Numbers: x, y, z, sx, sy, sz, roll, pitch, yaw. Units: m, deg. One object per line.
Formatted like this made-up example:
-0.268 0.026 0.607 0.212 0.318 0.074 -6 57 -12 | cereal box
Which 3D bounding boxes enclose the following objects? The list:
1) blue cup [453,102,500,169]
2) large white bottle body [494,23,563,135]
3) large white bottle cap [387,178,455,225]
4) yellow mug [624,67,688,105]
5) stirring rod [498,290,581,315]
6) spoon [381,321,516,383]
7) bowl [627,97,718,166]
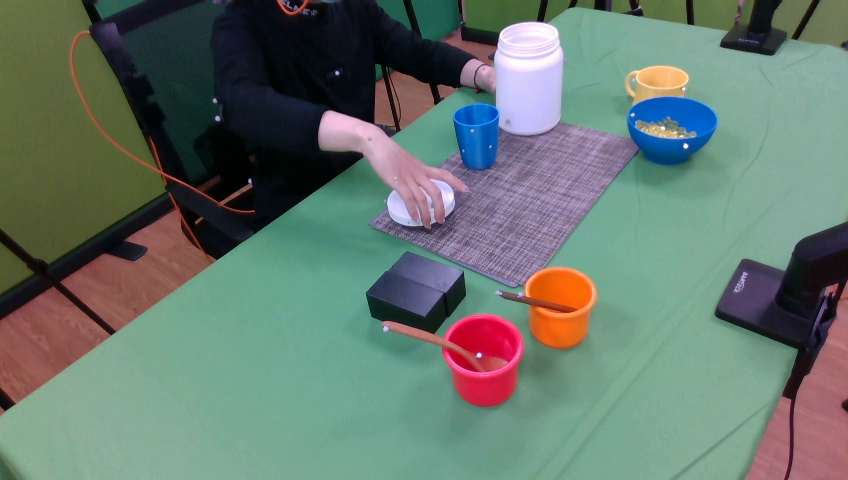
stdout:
0.099 -0.188 1.114 0.092 0.100 0.092 -4 40 4 | blue cup
0.204 -0.314 1.182 0.130 0.185 0.130 -4 41 4 | large white bottle body
-0.005 -0.066 1.020 0.115 0.018 0.114 -5 40 5 | large white bottle cap
0.464 -0.305 1.230 0.100 0.064 0.129 -34 46 -27 | yellow mug
0.151 0.081 0.771 0.178 0.006 0.014 16 19 -44 | stirring rod
0.033 0.131 0.725 0.195 0.021 0.041 29 29 -26 | spoon
0.439 -0.187 1.087 0.151 0.077 0.150 -4 41 4 | bowl
